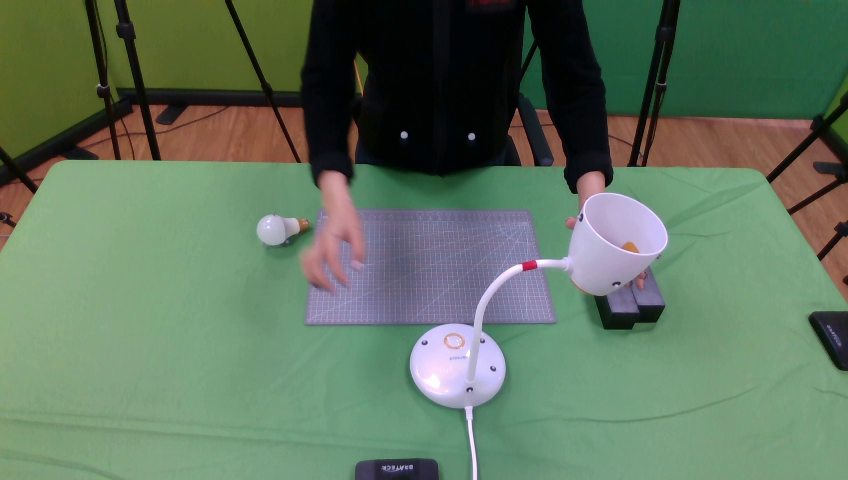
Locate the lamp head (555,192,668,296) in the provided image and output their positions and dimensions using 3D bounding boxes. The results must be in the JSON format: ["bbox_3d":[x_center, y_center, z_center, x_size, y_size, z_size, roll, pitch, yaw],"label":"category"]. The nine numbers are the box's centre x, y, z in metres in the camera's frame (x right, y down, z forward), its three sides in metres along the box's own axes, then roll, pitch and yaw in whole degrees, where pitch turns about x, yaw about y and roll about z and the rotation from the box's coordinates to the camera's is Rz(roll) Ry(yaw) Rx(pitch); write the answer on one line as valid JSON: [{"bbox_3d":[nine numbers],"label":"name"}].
[{"bbox_3d":[0.236,0.016,0.794,0.113,0.123,0.111,14,43,-13],"label":"lamp head"}]

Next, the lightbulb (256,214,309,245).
[{"bbox_3d":[-0.274,-0.024,1.183,0.108,0.060,0.059,-13,46,-37],"label":"lightbulb"}]

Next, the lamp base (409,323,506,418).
[{"bbox_3d":[0.063,0.161,0.940,0.161,0.181,0.178,-10,51,-13],"label":"lamp base"}]
